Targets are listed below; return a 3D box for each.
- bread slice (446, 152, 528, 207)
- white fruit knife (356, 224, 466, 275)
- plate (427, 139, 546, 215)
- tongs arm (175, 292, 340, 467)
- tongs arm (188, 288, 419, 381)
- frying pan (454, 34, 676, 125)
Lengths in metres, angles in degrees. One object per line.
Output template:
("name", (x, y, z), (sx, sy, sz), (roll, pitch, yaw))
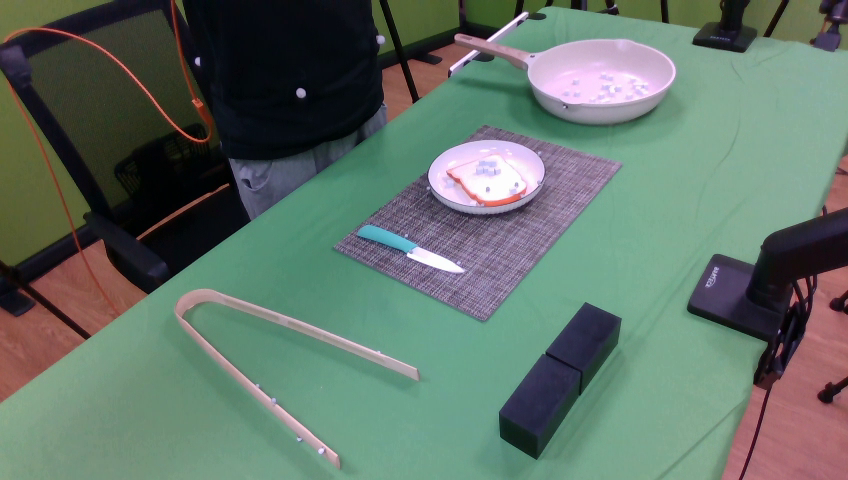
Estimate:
("bread slice", (0.117, -0.104, 1.057), (0.107, 0.018, 0.133), (-24, 42, -18))
("white fruit knife", (-0.021, 0.014, 0.955), (0.206, 0.016, 0.027), (22, 78, 28))
("plate", (0.109, -0.107, 1.058), (0.207, 0.039, 0.206), (-4, 40, 4))
("tongs arm", (-0.225, 0.169, 0.793), (0.381, 0.026, 0.051), (25, 49, 33))
("tongs arm", (-0.178, 0.126, 0.842), (0.385, 0.028, 0.028), (15, 48, 24))
("frying pan", (0.277, -0.370, 1.295), (0.485, 0.103, 0.307), (26, 50, 22))
